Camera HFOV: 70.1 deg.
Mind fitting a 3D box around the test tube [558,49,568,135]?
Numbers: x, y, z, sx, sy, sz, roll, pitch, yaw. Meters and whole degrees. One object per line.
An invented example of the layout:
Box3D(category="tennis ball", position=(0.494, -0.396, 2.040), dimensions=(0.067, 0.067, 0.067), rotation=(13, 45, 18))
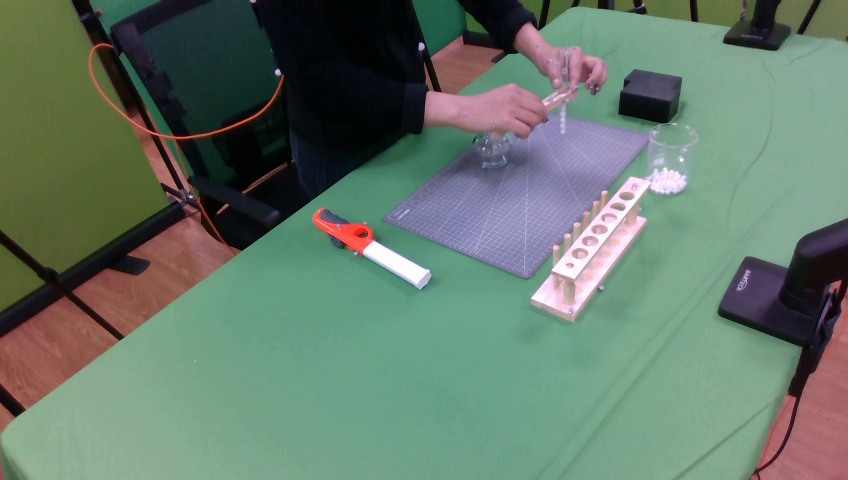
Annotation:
Box3D(category="test tube", position=(0.225, -0.236, 0.979), dimensions=(0.017, 0.151, 0.017), rotation=(-6, 41, 6))

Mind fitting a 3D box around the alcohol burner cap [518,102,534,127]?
Box3D(category="alcohol burner cap", position=(0.205, -0.255, 1.223), dimensions=(0.034, 0.048, 0.033), rotation=(-6, 41, 6))

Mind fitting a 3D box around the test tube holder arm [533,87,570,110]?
Box3D(category="test tube holder arm", position=(0.206, -0.223, 0.973), dimensions=(0.088, 0.015, 0.010), rotation=(-36, 41, -30))

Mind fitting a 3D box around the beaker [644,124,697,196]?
Box3D(category="beaker", position=(0.407, -0.131, 1.001), dimensions=(0.084, 0.101, 0.073), rotation=(-20, 42, -13))

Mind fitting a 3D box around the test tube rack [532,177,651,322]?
Box3D(category="test tube rack", position=(0.248, 0.003, 0.883), dimensions=(0.066, 0.085, 0.243), rotation=(22, 49, 32))

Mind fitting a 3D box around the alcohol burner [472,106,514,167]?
Box3D(category="alcohol burner", position=(0.126, -0.194, 1.111), dimensions=(0.078, 0.119, 0.077), rotation=(-4, 42, 5))

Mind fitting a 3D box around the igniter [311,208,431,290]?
Box3D(category="igniter", position=(-0.096, 0.008, 0.985), dimensions=(0.274, 0.025, 0.057), rotation=(29, 63, 36))

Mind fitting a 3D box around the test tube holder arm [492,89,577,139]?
Box3D(category="test tube holder arm", position=(0.176, -0.200, 0.949), dimensions=(0.179, 0.015, 0.013), rotation=(-31, 38, -25))
